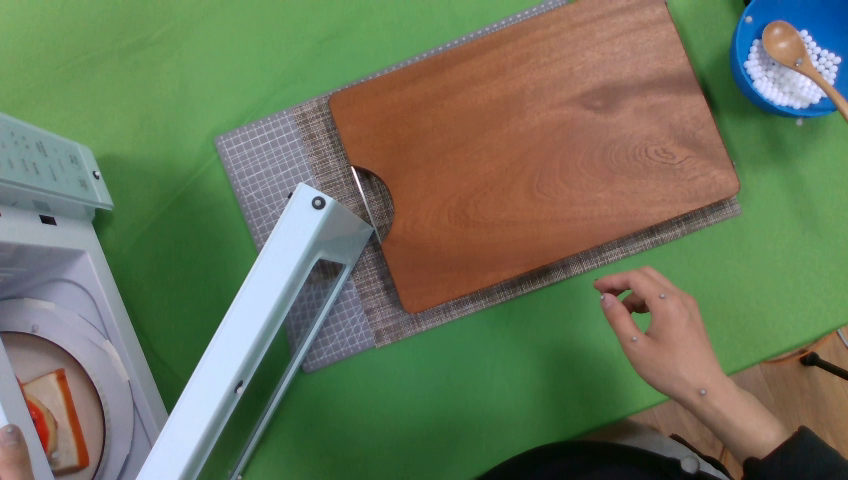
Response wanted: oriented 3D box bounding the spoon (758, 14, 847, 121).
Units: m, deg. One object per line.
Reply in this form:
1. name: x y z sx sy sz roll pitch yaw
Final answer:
1. spoon: 0.416 -0.166 0.635 0.041 0.022 0.192 -23 64 -1

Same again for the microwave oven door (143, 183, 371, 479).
1. microwave oven door: -0.161 0.121 0.571 0.039 0.244 0.355 27 88 4

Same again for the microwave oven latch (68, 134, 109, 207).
1. microwave oven latch: -0.391 -0.079 0.689 0.030 0.029 0.079 -24 87 0

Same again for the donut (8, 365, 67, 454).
1. donut: -0.412 0.175 0.609 0.099 0.048 0.098 0 83 2

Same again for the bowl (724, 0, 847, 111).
1. bowl: 0.397 -0.208 0.668 0.151 0.077 0.151 0 88 2

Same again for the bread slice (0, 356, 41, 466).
1. bread slice: -0.430 0.180 0.569 0.134 0.018 0.107 -24 88 11

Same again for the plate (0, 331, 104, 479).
1. plate: -0.435 0.197 0.629 0.208 0.039 0.207 0 86 -2

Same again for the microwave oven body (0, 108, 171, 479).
1. microwave oven body: -0.460 0.136 0.585 0.326 0.260 0.441 -24 87 0

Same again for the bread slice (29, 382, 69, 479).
1. bread slice: -0.440 0.201 0.631 0.131 0.019 0.104 0 88 1
